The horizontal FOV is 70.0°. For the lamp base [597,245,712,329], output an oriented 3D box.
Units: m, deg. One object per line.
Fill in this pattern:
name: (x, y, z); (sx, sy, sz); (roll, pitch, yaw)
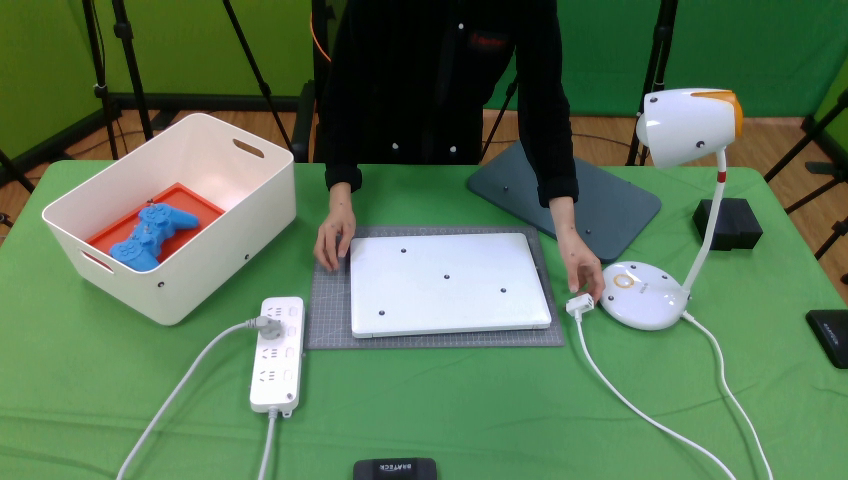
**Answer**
lamp base: (0.418, 0.051, 1.071); (0.179, 0.181, 0.160); (22, 49, 13)

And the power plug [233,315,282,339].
power plug: (-0.271, 0.144, 1.000); (0.072, 0.053, 0.035); (5, 47, 3)

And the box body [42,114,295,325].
box body: (-0.437, -0.046, 1.110); (0.253, 0.161, 0.363); (24, 49, 19)

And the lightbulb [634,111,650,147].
lightbulb: (0.348, -0.163, 0.852); (0.059, 0.060, 0.107); (-36, 19, -32)

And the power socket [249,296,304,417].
power socket: (-0.239, 0.182, 0.996); (0.072, 0.033, 0.225); (-2, 47, -5)

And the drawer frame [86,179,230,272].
drawer frame: (-0.453, 0.010, 1.100); (0.201, 0.083, 0.213); (28, 55, 23)

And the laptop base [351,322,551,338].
laptop base: (0.040, 0.081, 1.126); (0.355, 0.023, 0.234); (-2, 43, -6)

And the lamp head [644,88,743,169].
lamp head: (0.380, -0.161, 0.851); (0.122, 0.113, 0.112); (-4, 42, 25)

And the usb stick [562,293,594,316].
usb stick: (0.274, 0.118, 1.087); (0.021, 0.059, 0.027); (40, 44, -28)

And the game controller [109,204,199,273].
game controller: (-0.467, -0.005, 1.044); (0.097, 0.052, 0.154); (8, 45, 10)

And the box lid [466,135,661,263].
box lid: (0.306, -0.102, 1.327); (0.370, 0.015, 0.263); (32, 52, 25)

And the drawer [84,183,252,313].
drawer: (-0.457, 0.008, 1.099); (0.194, 0.073, 0.211); (29, 49, 21)

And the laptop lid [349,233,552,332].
laptop lid: (0.040, 0.070, 1.119); (0.357, 0.013, 0.240); (-1, 44, -5)
